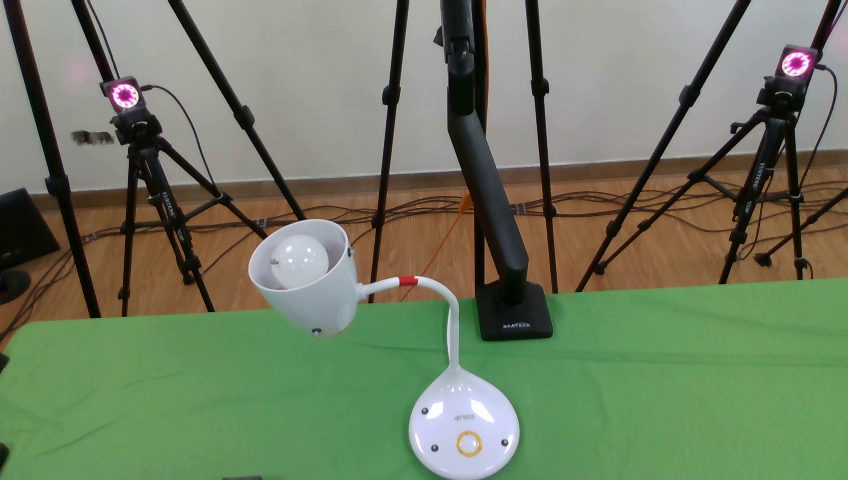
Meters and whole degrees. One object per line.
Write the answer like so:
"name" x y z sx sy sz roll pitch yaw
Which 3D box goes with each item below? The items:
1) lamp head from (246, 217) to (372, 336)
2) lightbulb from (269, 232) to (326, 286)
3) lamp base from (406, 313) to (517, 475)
"lamp head" -0.122 0.050 0.689 0.112 0.124 0.111 -12 43 12
"lightbulb" -0.132 0.037 0.669 0.059 0.109 0.059 -6 48 8
"lamp base" 0.047 0.201 0.837 0.161 0.182 0.177 -13 41 -10
